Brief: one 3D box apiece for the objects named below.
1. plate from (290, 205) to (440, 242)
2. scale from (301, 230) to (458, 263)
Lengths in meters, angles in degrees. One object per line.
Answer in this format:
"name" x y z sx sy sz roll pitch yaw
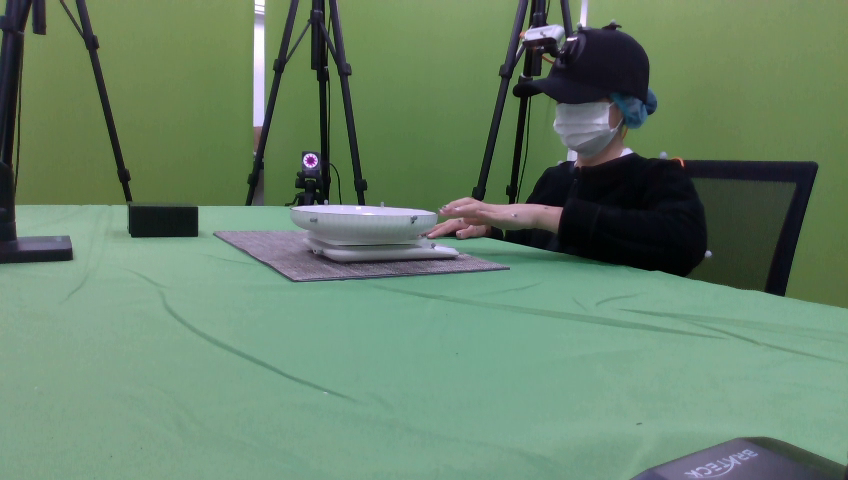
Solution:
"plate" -0.082 -0.024 0.852 0.208 0.039 0.207 3 6 0
"scale" -0.065 0.007 0.878 0.202 0.031 0.148 0 8 -29
